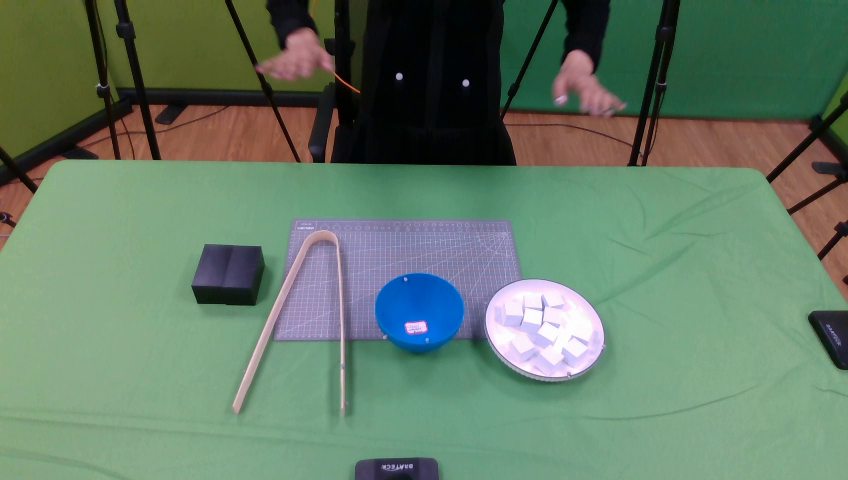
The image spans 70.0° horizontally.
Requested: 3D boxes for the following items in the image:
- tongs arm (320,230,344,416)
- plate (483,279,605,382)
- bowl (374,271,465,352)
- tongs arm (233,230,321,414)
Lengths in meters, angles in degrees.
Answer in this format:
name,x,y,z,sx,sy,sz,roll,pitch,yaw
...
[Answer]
name,x,y,z,sx,sy,sz,roll,pitch,yaw
tongs arm,-0.163,0.126,1.054,0.051,0.026,0.382,-4,47,-2
plate,0.204,0.158,1.046,0.208,0.039,0.206,3,47,-3
bowl,-0.009,0.136,1.024,0.151,0.077,0.150,2,47,-2
tongs arm,-0.250,0.124,1.054,0.028,0.028,0.385,5,46,10
